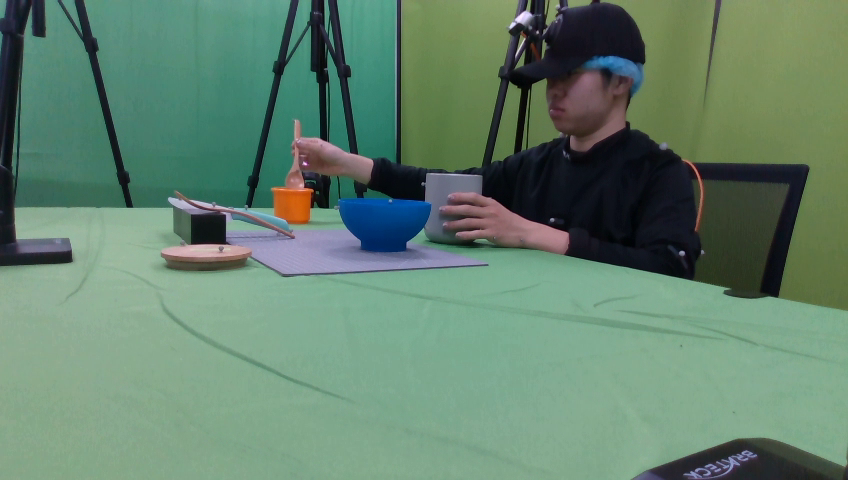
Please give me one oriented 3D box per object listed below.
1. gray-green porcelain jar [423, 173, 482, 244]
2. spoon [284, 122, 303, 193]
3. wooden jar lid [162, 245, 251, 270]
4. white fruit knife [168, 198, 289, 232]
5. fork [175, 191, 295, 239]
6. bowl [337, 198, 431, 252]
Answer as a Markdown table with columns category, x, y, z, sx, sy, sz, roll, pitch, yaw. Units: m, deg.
| category | x | y | z | sx | sy | sz | roll | pitch | yaw |
| --- | --- | --- | --- | --- | --- | --- | --- | --- | --- |
| gray-green porcelain jar | 0.052 | -0.059 | 1.116 | 0.106 | 0.126 | 0.106 | 2 | 8 | 0 |
| spoon | -0.289 | -0.189 | 1.363 | 0.042 | 0.193 | 0.021 | 7 | -25 | -18 |
| wooden jar lid | -0.278 | 0.022 | 0.777 | 0.108 | 0.020 | 0.108 | 2 | 6 | 0 |
| white fruit knife | -0.329 | -0.044 | 1.036 | 0.208 | 0.027 | 0.016 | 14 | -1 | -32 |
| fork | -0.305 | -0.039 | 0.993 | 0.208 | 0.018 | 0.028 | 19 | -9 | -34 |
| bowl | -0.066 | -0.024 | 0.967 | 0.151 | 0.077 | 0.151 | 3 | 7 | 0 |
